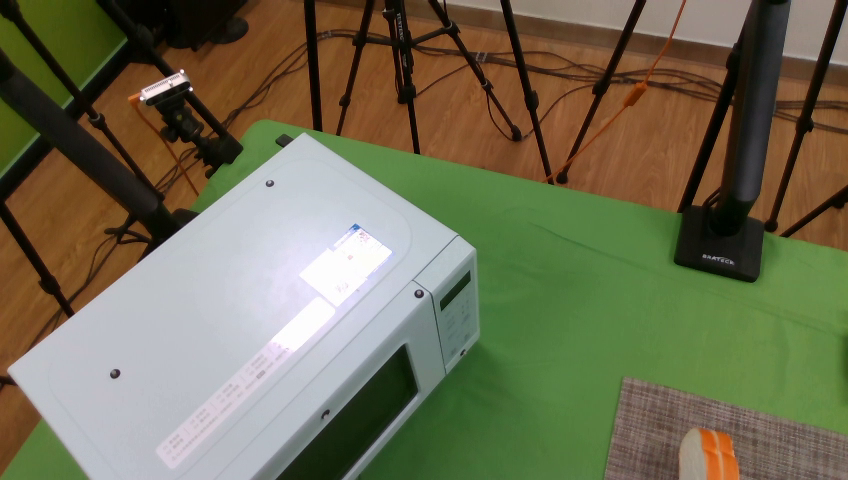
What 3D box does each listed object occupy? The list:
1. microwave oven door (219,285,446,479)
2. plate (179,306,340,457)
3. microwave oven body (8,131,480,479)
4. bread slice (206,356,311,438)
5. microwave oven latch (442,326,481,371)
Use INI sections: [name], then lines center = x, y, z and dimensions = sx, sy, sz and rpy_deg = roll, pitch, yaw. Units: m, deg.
[microwave oven door]
center = -0.110, 0.231, 0.690
dimensions = 0.039, 0.246, 0.355
rpy_deg = 34, 66, 26
[plate]
center = -0.213, 0.186, 0.805
dimensions = 0.208, 0.039, 0.205
rpy_deg = -1, 55, 1
[microwave oven body]
center = -0.190, 0.133, 0.771
dimensions = 0.323, 0.262, 0.441
rpy_deg = 35, 67, 25
[bread slice]
center = -0.216, 0.211, 0.796
dimensions = 0.134, 0.018, 0.106
rpy_deg = -5, 54, -10
[microwave oven latch]
center = 0.047, 0.146, 0.853
dimensions = 0.030, 0.030, 0.079
rpy_deg = 36, 68, 25
